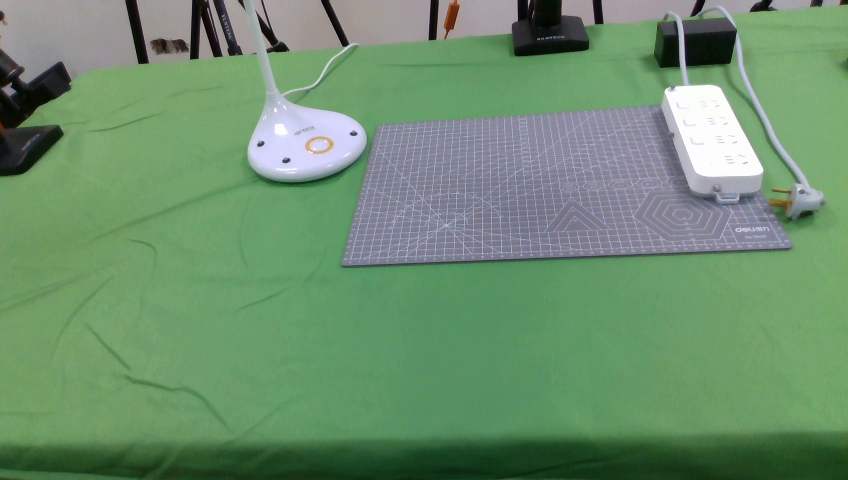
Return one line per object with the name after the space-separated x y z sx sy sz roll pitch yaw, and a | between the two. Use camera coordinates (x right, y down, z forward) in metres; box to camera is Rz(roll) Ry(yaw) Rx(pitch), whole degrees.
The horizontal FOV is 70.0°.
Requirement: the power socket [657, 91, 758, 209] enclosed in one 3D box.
0.331 -0.116 0.720 0.072 0.033 0.225 0 40 9 | power socket

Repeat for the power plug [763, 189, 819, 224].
0.378 -0.036 0.633 0.052 0.035 0.072 11 8 15 | power plug

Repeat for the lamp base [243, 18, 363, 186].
-0.180 -0.185 0.777 0.177 0.182 0.160 26 50 37 | lamp base
